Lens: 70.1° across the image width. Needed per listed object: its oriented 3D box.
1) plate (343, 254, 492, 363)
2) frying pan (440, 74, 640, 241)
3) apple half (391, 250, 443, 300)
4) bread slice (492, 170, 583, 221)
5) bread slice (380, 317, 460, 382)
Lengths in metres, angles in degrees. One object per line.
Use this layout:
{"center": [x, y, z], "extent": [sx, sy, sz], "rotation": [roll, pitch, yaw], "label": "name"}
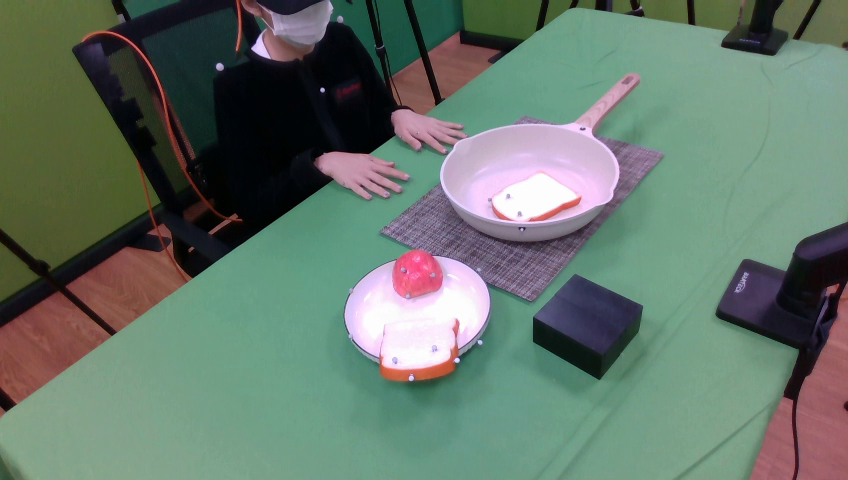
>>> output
{"center": [-0.008, 0.100, 0.847], "extent": [0.207, 0.039, 0.206], "rotation": [-4, 40, 4], "label": "plate"}
{"center": [0.245, -0.161, 1.058], "extent": [0.304, 0.103, 0.489], "rotation": [30, 61, 35], "label": "frying pan"}
{"center": [-0.013, 0.046, 0.883], "extent": [0.081, 0.033, 0.081], "rotation": [0, 65, 1], "label": "apple half"}
{"center": [0.183, -0.066, 1.015], "extent": [0.135, 0.018, 0.106], "rotation": [-28, 43, -23], "label": "bread slice"}
{"center": [-0.005, 0.137, 0.770], "extent": [0.105, 0.019, 0.131], "rotation": [-6, 20, 4], "label": "bread slice"}
